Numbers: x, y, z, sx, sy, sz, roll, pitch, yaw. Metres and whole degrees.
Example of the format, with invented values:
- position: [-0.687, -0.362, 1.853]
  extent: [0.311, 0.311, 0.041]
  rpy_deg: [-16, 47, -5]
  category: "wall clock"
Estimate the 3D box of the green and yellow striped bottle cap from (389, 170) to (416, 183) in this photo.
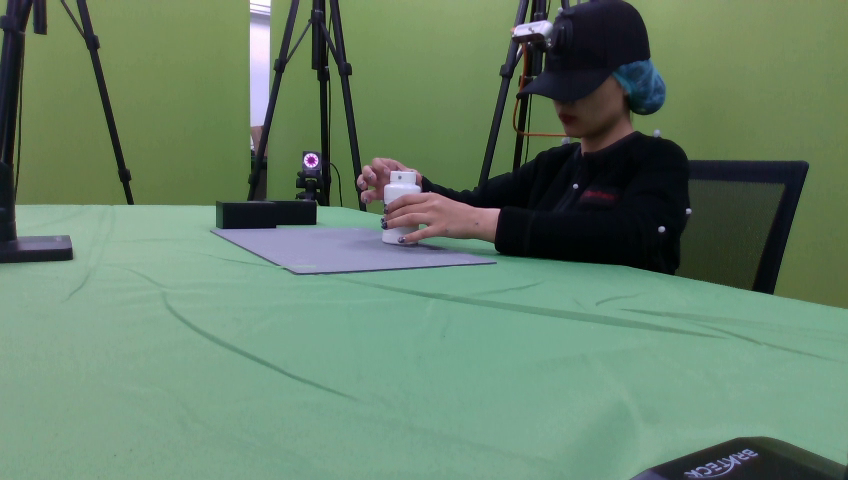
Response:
- position: [-0.036, -0.106, 1.011]
  extent: [0.045, 0.020, 0.045]
  rpy_deg: [3, 4, 0]
  category: "green and yellow striped bottle cap"

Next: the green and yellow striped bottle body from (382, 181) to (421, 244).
- position: [-0.038, -0.055, 1.018]
  extent: [0.063, 0.119, 0.063]
  rpy_deg: [3, 8, 0]
  category: "green and yellow striped bottle body"
